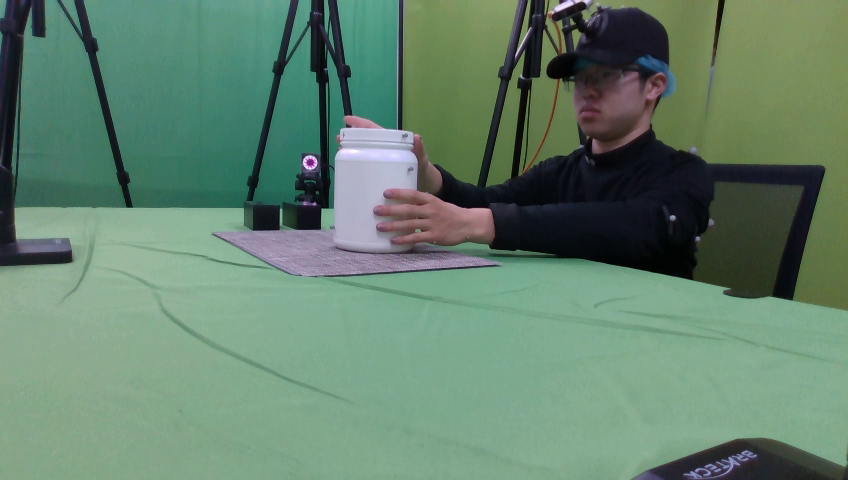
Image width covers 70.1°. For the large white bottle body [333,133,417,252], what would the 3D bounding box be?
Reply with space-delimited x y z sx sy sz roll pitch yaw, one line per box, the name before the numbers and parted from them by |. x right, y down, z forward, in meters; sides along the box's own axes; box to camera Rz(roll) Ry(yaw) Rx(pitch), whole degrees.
large white bottle body | -0.076 -0.080 0.950 0.131 0.184 0.130 2 8 0

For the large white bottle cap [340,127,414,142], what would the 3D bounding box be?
large white bottle cap | -0.073 -0.163 0.940 0.115 0.018 0.115 2 7 0
